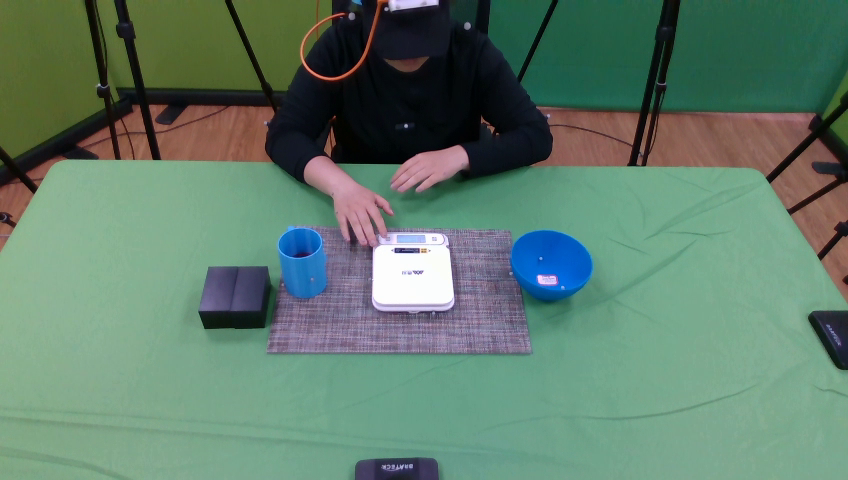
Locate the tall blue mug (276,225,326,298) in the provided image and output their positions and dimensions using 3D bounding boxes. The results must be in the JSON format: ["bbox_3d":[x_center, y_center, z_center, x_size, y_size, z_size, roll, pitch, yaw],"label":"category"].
[{"bbox_3d":[-0.228,0.033,1.083,0.107,0.108,0.077,30,52,23],"label":"tall blue mug"}]

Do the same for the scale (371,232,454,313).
[{"bbox_3d":[-0.023,0.051,1.134,0.149,0.032,0.199,1,46,-4],"label":"scale"}]

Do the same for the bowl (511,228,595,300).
[{"bbox_3d":[0.230,0.058,1.118,0.151,0.077,0.150,2,46,-2],"label":"bowl"}]
